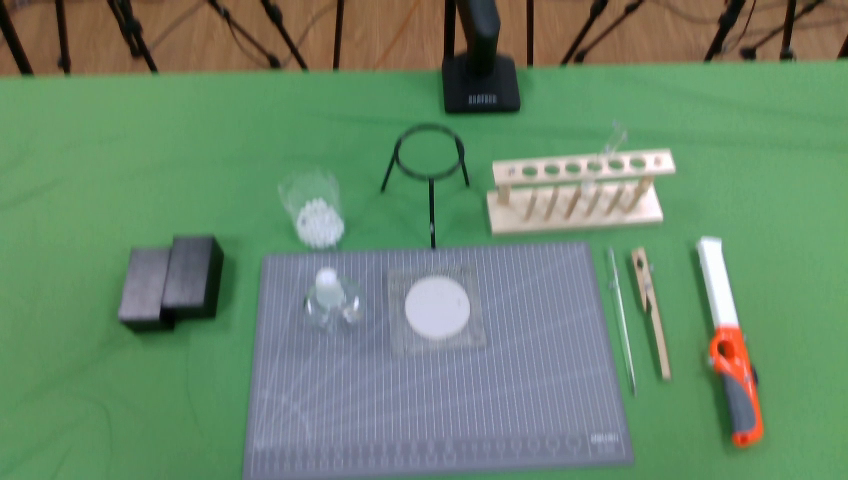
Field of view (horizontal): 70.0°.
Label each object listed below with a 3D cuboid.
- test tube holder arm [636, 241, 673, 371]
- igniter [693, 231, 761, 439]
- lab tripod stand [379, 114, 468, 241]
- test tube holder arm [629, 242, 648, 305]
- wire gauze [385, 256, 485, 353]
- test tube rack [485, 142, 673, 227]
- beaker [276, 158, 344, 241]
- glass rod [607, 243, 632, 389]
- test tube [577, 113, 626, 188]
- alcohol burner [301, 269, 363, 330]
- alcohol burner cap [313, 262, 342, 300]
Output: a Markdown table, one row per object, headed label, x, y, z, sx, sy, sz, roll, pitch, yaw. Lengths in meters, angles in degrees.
| label | x | y | z | sx | sy | sz | roll | pitch | yaw |
| --- | --- | --- | --- | --- | --- | --- | --- | --- | --- |
| test tube holder arm | 0.298 | 0.083 | 0.789 | 0.013 | 0.015 | 0.177 | -22 | 58 | 29 |
| igniter | 0.384 | 0.113 | 0.773 | 0.057 | 0.025 | 0.274 | 7 | 62 | -9 |
| lab tripod stand | 0.001 | -0.092 | 0.811 | 0.148 | 0.132 | 0.147 | 0 | 61 | 1 |
| test tube holder arm | 0.291 | 0.045 | 0.813 | 0.010 | 0.015 | 0.087 | -21 | 58 | 29 |
| wire gauze | 0.013 | 0.080 | 0.790 | 0.121 | 0.011 | 0.124 | -4 | 66 | -4 |
| test tube rack | 0.211 | -0.075 | 0.835 | 0.242 | 0.086 | 0.066 | -5 | 62 | -3 |
| beaker | -0.149 | -0.050 | 0.806 | 0.084 | 0.101 | 0.073 | 14 | 62 | 7 |
| glass rod | 0.255 | 0.095 | 0.791 | 0.008 | 0.008 | 0.198 | 0 | 65 | -1 |
| test tube | 0.230 | -0.114 | 0.800 | 0.017 | 0.151 | 0.017 | 3 | 61 | -6 |
| alcohol burner | -0.114 | 0.064 | 0.736 | 0.078 | 0.120 | 0.077 | 0 | 60 | 1 |
| alcohol burner cap | -0.113 | 0.045 | 0.705 | 0.034 | 0.048 | 0.033 | 2 | 53 | -2 |
